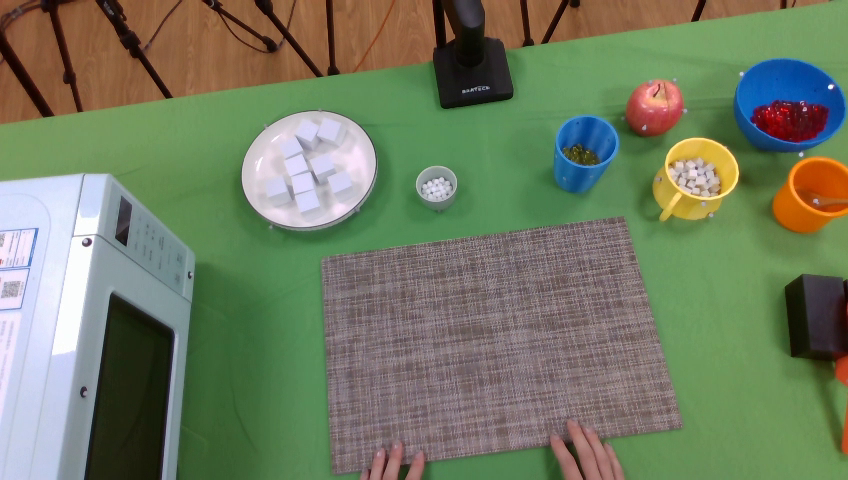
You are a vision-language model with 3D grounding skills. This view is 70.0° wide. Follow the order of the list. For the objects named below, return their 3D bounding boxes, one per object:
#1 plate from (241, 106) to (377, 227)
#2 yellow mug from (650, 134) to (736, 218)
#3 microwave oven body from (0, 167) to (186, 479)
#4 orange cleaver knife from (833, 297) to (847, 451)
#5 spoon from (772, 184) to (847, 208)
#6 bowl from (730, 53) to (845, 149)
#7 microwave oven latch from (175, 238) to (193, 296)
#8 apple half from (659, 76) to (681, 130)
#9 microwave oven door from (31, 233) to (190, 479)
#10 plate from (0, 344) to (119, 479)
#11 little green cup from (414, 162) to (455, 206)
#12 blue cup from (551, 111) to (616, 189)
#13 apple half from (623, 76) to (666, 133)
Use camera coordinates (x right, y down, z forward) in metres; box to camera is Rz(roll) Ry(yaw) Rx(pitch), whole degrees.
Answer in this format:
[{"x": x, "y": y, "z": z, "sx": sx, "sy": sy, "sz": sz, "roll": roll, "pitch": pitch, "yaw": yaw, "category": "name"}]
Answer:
[{"x": -0.173, "y": -0.111, "z": 0.930, "sx": 0.207, "sy": 0.039, "sz": 0.206, "roll": -1, "pitch": 67, "yaw": 3, "category": "plate"}, {"x": 0.373, "y": -0.082, "z": 0.866, "sx": 0.099, "sy": 0.064, "sz": 0.130, "roll": 38, "pitch": 76, "yaw": 18, "category": "yellow mug"}, {"x": -0.490, "y": 0.175, "z": 0.707, "sx": 0.326, "sy": 0.262, "sz": 0.438, "roll": -5, "pitch": 68, "yaw": 1, "category": "microwave oven body"}, {"x": 0.528, "y": 0.151, "z": 0.748, "sx": 0.012, "sy": 0.077, "sz": 0.211, "roll": 6, "pitch": 97, "yaw": 9, "category": "orange cleaver knife"}, {"x": 0.556, "y": -0.053, "z": 0.796, "sx": 0.041, "sy": 0.192, "sz": 0.022, "roll": -48, "pitch": 116, "yaw": -15, "category": "spoon"}, {"x": 0.520, "y": -0.190, "z": 0.894, "sx": 0.151, "sy": 0.077, "sz": 0.150, "roll": -1, "pitch": 68, "yaw": 4, "category": "bowl"}, {"x": -0.347, "y": 0.038, "z": 0.859, "sx": 0.030, "sy": 0.030, "sz": 0.078, "roll": -3, "pitch": 68, "yaw": 2, "category": "microwave oven latch"}, {"x": 0.367, "y": -0.205, "z": 0.912, "sx": 0.033, "sy": 0.082, "sz": 0.080, "roll": -3, "pitch": 67, "yaw": 6, "category": "apple half"}, {"x": -0.342, "y": 0.199, "z": 0.681, "sx": 0.039, "sy": 0.245, "sz": 0.353, "roll": -5, "pitch": 67, "yaw": 2, "category": "microwave oven door"}, {"x": -0.473, "y": 0.231, "z": 0.738, "sx": 0.209, "sy": 0.038, "sz": 0.207, "roll": -1, "pitch": 68, "yaw": 2, "category": "plate"}, {"x": 0.017, "y": -0.081, "z": 0.905, "sx": 0.061, "sy": 0.039, "sz": 0.061, "roll": -1, "pitch": 67, "yaw": 4, "category": "little green cup"}, {"x": 0.223, "y": -0.121, "z": 0.874, "sx": 0.092, "sy": 0.101, "sz": 0.092, "roll": -1, "pitch": 68, "yaw": 3, "category": "blue cup"}, {"x": 0.328, "y": -0.202, "z": 0.916, "sx": 0.053, "sy": 0.075, "sz": 0.080, "roll": -4, "pitch": 70, "yaw": 6, "category": "apple half"}]
